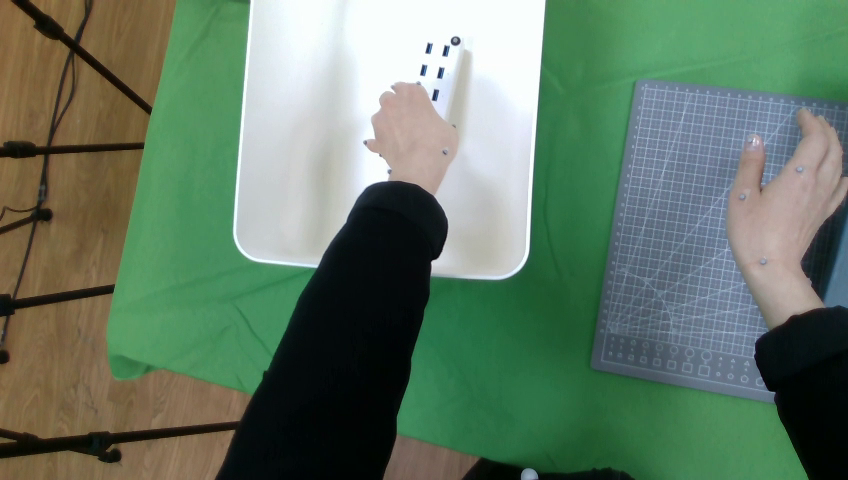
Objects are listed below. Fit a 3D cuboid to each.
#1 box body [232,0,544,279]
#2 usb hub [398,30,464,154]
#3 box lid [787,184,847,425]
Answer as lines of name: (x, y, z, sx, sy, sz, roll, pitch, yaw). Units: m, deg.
box body: (-0.018, -0.152, 0.581, 0.254, 0.161, 0.363, 4, 89, 10)
usb hub: (0.008, -0.154, 0.631, 0.049, 0.025, 0.125, 9, 84, 9)
box lid: (0.498, 0.014, 0.525, 0.262, 0.015, 0.372, 11, 103, 10)
